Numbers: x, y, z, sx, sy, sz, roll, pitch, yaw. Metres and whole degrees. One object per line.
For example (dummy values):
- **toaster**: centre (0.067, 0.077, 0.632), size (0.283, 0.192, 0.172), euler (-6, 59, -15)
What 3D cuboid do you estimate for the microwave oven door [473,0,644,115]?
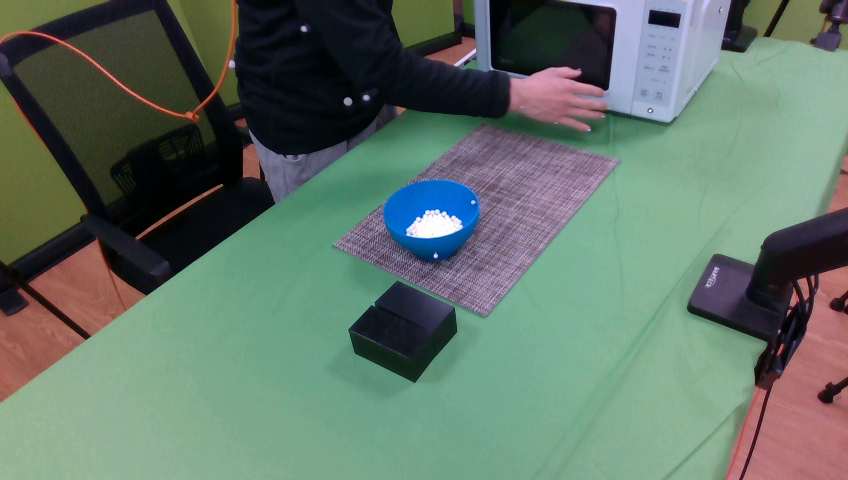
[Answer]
- **microwave oven door**: centre (0.257, -0.396, 1.199), size (0.353, 0.245, 0.039), euler (21, 48, 29)

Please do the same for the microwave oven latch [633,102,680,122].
- **microwave oven latch**: centre (0.443, -0.249, 1.157), size (0.078, 0.029, 0.030), euler (21, 49, 30)

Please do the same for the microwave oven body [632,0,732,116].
- **microwave oven body**: centre (0.377, -0.463, 1.267), size (0.438, 0.261, 0.327), euler (21, 48, 30)

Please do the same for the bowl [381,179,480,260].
- **bowl**: centre (0.014, -0.021, 0.942), size (0.151, 0.077, 0.150), euler (-4, 40, 4)
